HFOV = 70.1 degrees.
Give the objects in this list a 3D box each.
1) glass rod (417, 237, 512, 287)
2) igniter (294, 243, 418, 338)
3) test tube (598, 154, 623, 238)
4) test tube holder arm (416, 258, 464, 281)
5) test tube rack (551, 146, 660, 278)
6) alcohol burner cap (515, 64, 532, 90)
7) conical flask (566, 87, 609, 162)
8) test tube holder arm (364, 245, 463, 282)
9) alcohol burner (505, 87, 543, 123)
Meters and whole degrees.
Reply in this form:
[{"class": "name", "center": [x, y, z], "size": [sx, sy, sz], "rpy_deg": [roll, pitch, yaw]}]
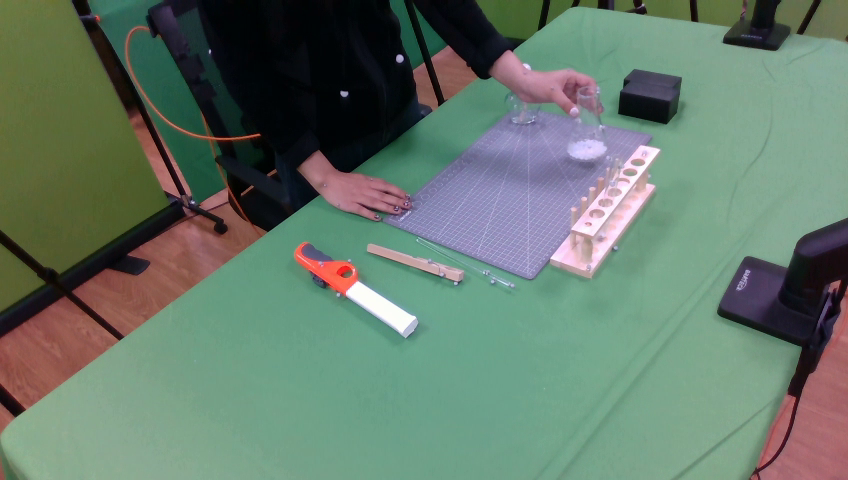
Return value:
[{"class": "glass rod", "center": [0.059, 0.032, 0.945], "size": [0.198, 0.008, 0.008], "rpy_deg": [26, 52, 38]}, {"class": "igniter", "center": [-0.114, 0.070, 0.919], "size": [0.274, 0.025, 0.057], "rpy_deg": [29, 63, 37]}, {"class": "test tube", "center": [0.269, -0.059, 0.876], "size": [0.017, 0.151, 0.017], "rpy_deg": [-2, 43, 3]}, {"class": "test tube holder arm", "center": [0.022, 0.045, 0.931], "size": [0.087, 0.015, 0.010], "rpy_deg": [16, 10, 28]}, {"class": "test tube rack", "center": [0.286, -0.053, 0.943], "size": [0.066, 0.085, 0.243], "rpy_deg": [21, 49, 32]}, {"class": "alcohol burner cap", "center": [0.199, -0.325, 1.198], "size": [0.034, 0.048, 0.033], "rpy_deg": [0, 45, 1]}, {"class": "conical flask", "center": [0.283, -0.203, 1.049], "size": [0.075, 0.122, 0.075], "rpy_deg": [-7, 41, 7]}, {"class": "test tube holder arm", "center": [-0.020, 0.034, 0.947], "size": [0.177, 0.015, 0.013], "rpy_deg": [16, 10, 26]}, {"class": "alcohol burner", "center": [0.202, -0.298, 1.222], "size": [0.078, 0.119, 0.077], "rpy_deg": [-4, 40, 4]}]
